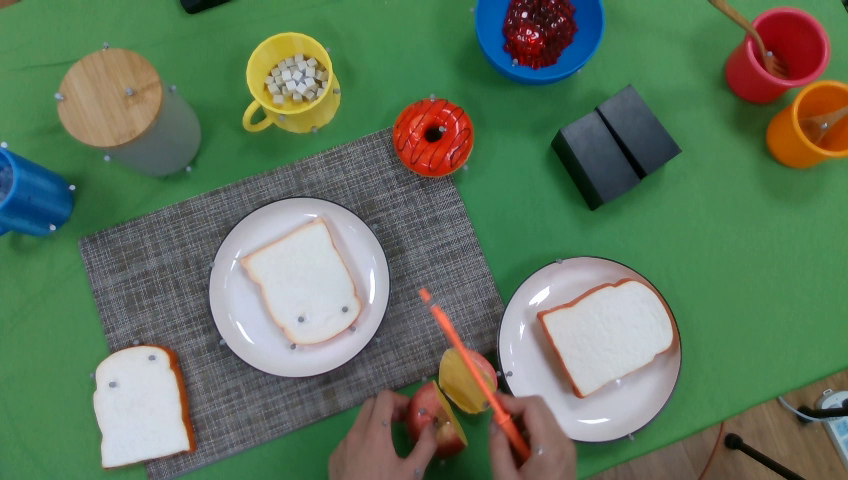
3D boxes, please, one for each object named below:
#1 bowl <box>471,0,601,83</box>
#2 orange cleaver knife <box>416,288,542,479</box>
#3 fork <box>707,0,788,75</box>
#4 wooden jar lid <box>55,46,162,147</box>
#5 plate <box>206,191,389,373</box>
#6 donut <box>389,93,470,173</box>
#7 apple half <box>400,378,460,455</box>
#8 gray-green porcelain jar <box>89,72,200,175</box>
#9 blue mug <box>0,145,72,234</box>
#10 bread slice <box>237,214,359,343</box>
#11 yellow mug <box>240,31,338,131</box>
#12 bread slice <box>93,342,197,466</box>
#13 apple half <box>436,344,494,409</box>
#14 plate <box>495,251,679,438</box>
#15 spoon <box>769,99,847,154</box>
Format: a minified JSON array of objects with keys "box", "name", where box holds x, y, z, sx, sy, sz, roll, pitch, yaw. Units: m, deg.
[{"box":[0.129,-0.251,0.733,0.151,0.077,0.151,0,82,0],"name":"bowl"},{"box":[0.051,0.137,0.579,0.012,0.077,0.212,-33,103,-7],"name":"orange cleaver knife"},{"box":[0.373,-0.238,0.697,0.209,0.018,0.028,18,77,-39],"name":"fork"},{"box":[-0.324,-0.147,0.628,0.108,0.021,0.108,0,80,1],"name":"wooden jar lid"},{"box":[-0.143,0.048,0.703,0.208,0.039,0.207,0,82,0],"name":"plate"},{"box":[0.007,-0.128,0.727,0.099,0.048,0.098,0,82,0],"name":"donut"},{"box":[0.001,0.199,0.668,0.053,0.075,0.080,-25,87,-3],"name":"apple half"},{"box":[-0.323,-0.136,0.689,0.106,0.127,0.105,0,81,0],"name":"gray-green porcelain jar"},{"box":[-0.481,-0.045,0.684,0.082,0.106,0.116,42,84,6],"name":"blue mug"},{"box":[-0.137,0.050,0.704,0.107,0.018,0.134,-32,83,-4],"name":"bread slice"},{"box":[-0.169,-0.179,0.727,0.131,0.064,0.099,-45,84,-6],"name":"yellow mug"},{"box":[-0.325,0.184,0.692,0.105,0.019,0.131,-13,83,-3],"name":"bread slice"},{"box":[0.051,0.152,0.689,0.033,0.081,0.081,-28,80,-43],"name":"apple half"},{"box":[0.184,0.118,0.698,0.209,0.038,0.208,0,81,0],"name":"plate"},{"box":[0.490,-0.160,0.685,0.022,0.194,0.041,-17,76,-49],"name":"spoon"}]
